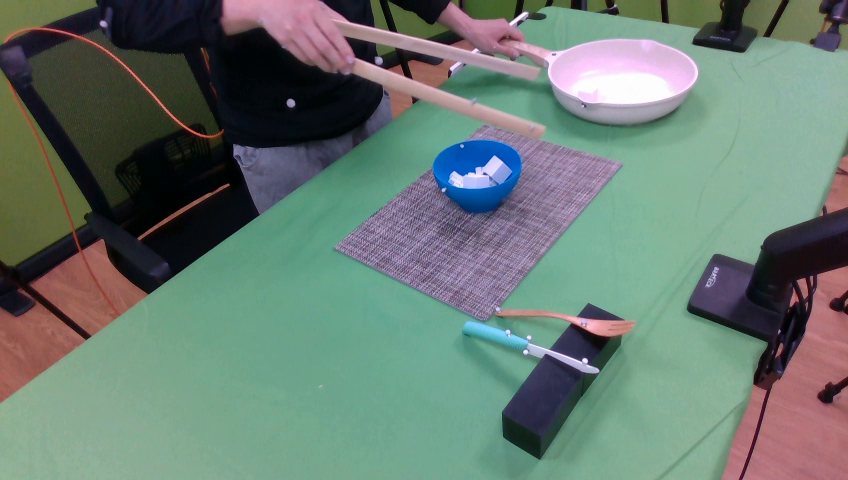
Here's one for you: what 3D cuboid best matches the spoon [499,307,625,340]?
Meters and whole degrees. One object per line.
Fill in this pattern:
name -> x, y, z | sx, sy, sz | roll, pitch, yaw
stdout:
spoon -> 0.169, 0.102, 0.773 | 0.042, 0.021, 0.192 | -7, 11, -38

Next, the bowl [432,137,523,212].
bowl -> 0.091, -0.100, 1.022 | 0.151, 0.077, 0.150 | -4, 41, 4

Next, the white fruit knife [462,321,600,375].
white fruit knife -> 0.126, 0.132, 0.752 | 0.205, 0.027, 0.016 | 12, 47, 42

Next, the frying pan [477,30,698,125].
frying pan -> 0.321, -0.371, 1.290 | 0.484, 0.103, 0.307 | 29, 51, 24

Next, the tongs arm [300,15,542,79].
tongs arm -> 0.004, -0.293, 0.930 | 0.390, 0.028, 0.028 | 7, 60, -17

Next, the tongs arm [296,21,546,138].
tongs arm -> -0.001, -0.232, 0.886 | 0.386, 0.026, 0.050 | 16, 54, -10
